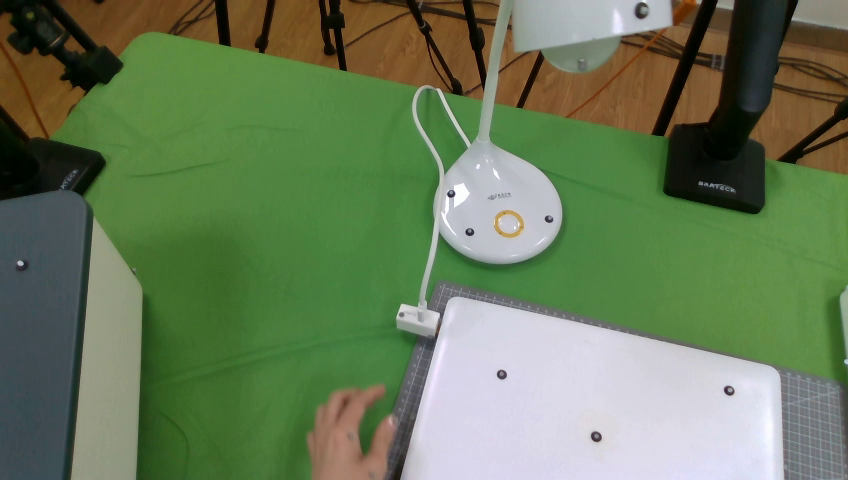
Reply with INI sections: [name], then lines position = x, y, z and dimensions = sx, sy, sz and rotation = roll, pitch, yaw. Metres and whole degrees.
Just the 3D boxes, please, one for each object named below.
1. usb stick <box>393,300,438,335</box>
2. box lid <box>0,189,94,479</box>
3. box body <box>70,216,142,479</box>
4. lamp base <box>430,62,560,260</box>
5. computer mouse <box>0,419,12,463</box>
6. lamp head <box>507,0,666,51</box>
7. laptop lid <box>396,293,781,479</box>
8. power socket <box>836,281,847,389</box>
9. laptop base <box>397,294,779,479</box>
[usb stick]
position = -0.003, 0.086, 0.657
dimensions = 0.059, 0.027, 0.021
rotation = 16, 54, 7
[box lid]
position = -0.409, 0.121, 0.481
dimensions = 0.263, 0.015, 0.367
rotation = -10, 59, -6
[box body]
position = -0.409, 0.162, 0.542
dimensions = 0.254, 0.162, 0.360
rotation = -10, 58, -6
[lamp base]
position = 0.081, -0.096, 0.691
dimensions = 0.161, 0.182, 0.177
rotation = -20, 57, -12
[computer mouse]
position = -0.434, 0.212, 0.570
dimensions = 0.063, 0.041, 0.116
rotation = -36, 24, -10
[lamp head]
position = 0.107, -0.202, 0.427
dimensions = 0.112, 0.112, 0.123
rotation = -13, 102, -7
[laptop lid]
position = 0.165, 0.190, 0.593
dimensions = 0.356, 0.013, 0.240
rotation = 13, 61, 9
[power socket]
position = 0.481, 0.139, 0.629
dimensions = 0.072, 0.033, 0.225
rotation = 12, 59, 6
[laptop base]
position = 0.166, 0.194, 0.604
dimensions = 0.354, 0.023, 0.234
rotation = 12, 62, 8
